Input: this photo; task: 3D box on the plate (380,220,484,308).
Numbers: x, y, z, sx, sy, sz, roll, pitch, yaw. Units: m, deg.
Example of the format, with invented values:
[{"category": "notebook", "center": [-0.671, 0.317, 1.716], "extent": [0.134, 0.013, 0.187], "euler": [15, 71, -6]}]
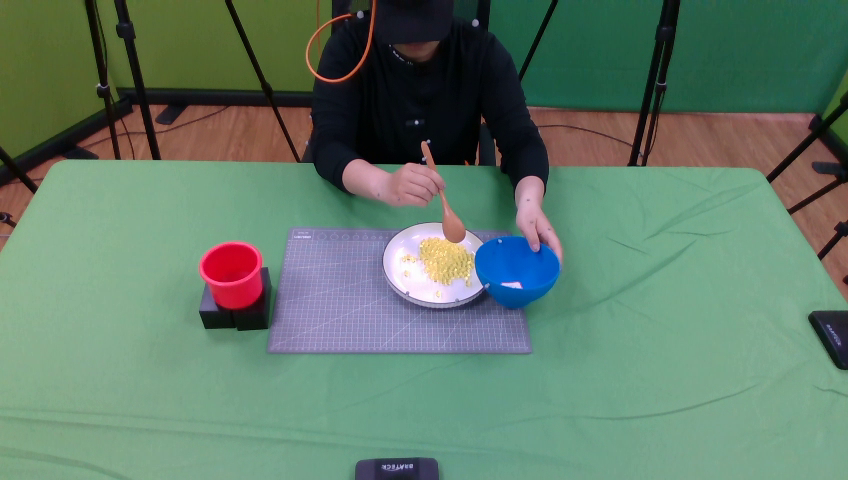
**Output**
[{"category": "plate", "center": [0.022, 0.048, 1.138], "extent": [0.208, 0.039, 0.206], "euler": [2, 46, -2]}]

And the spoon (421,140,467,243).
[{"category": "spoon", "center": [0.030, -0.085, 1.077], "extent": [0.041, 0.194, 0.021], "euler": [-18, 7, 16]}]

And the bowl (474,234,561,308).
[{"category": "bowl", "center": [0.161, 0.066, 1.068], "extent": [0.151, 0.077, 0.150], "euler": [1, 37, -1]}]
